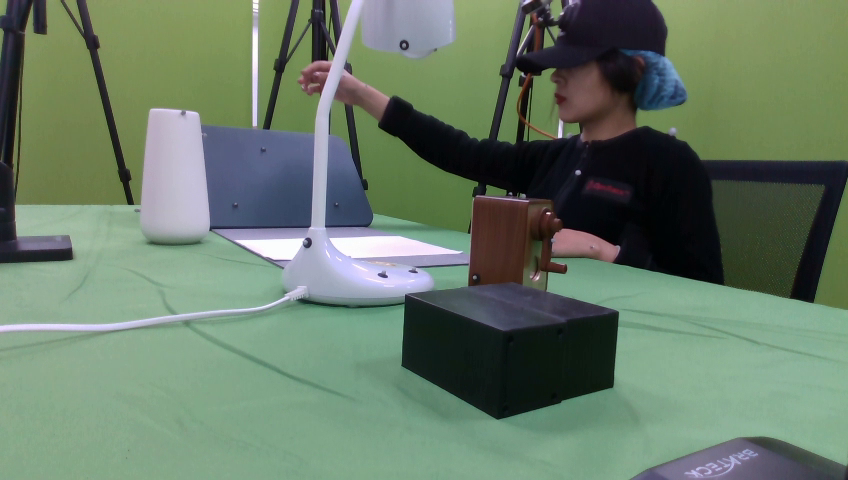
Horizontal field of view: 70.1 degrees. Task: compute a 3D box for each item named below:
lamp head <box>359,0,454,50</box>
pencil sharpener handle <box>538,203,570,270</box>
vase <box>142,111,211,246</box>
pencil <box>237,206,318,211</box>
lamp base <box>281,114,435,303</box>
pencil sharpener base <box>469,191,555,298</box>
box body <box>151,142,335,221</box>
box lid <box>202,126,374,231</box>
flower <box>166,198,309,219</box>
[{"bbox_3d":[-0.024,-0.283,0.674,0.112,0.123,0.112,-3,38,3],"label":"lamp head"},{"bbox_3d":[0.137,-0.003,0.619,0.030,0.067,0.036,8,4,38],"label":"pencil sharpener handle"},{"bbox_3d":[-0.378,-0.093,0.920,0.098,0.200,0.098,2,9,0],"label":"vase"},{"bbox_3d":[-0.346,-0.074,1.434,0.194,0.012,0.012,0,7,-1],"label":"pencil"},{"bbox_3d":[-0.071,-0.035,0.614,0.160,0.180,0.180,6,10,27],"label":"lamp base"},{"bbox_3d":[0.097,0.003,0.652,0.076,0.107,0.061,8,9,38],"label":"pencil sharpener base"},{"bbox_3d":[-0.413,-0.135,1.379,0.366,0.160,0.253,-2,9,-31],"label":"box body"},{"bbox_3d":[-0.296,-0.128,1.234,0.373,0.262,0.015,-2,-35,-32],"label":"box lid"},{"bbox_3d":[-0.399,-0.061,1.357,0.044,0.038,0.364,-36,-23,32],"label":"flower"}]
